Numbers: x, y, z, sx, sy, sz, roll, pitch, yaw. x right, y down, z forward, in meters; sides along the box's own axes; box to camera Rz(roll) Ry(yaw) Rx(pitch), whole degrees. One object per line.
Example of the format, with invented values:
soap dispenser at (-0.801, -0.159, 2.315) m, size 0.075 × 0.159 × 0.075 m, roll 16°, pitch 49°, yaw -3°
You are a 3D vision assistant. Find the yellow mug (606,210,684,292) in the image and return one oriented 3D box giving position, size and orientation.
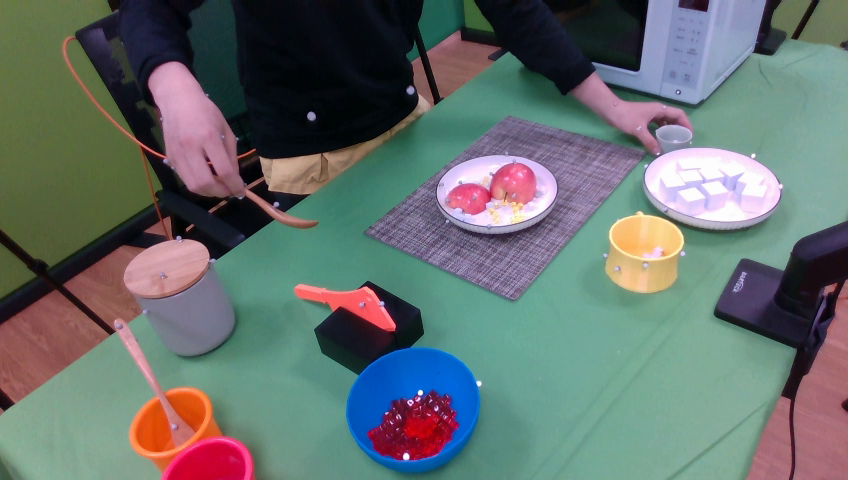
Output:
yellow mug at (0.318, 0.007, 0.883) m, size 0.100 × 0.064 × 0.130 m, roll 0°, pitch 41°, yaw 8°

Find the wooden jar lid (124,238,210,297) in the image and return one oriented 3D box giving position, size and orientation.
wooden jar lid at (-0.335, 0.039, 0.794) m, size 0.108 × 0.021 × 0.108 m, roll -2°, pitch 40°, yaw 2°

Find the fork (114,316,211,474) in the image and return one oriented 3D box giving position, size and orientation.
fork at (-0.309, 0.179, 0.708) m, size 0.028 × 0.018 × 0.207 m, roll -29°, pitch 89°, yaw -25°

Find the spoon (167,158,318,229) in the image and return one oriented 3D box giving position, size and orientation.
spoon at (-0.217, -0.057, 0.722) m, size 0.194 × 0.021 × 0.041 m, roll 28°, pitch 16°, yaw -1°

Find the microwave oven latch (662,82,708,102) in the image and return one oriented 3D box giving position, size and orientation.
microwave oven latch at (0.518, -0.298, 1.203) m, size 0.078 × 0.029 × 0.030 m, roll 28°, pitch 53°, yaw 35°

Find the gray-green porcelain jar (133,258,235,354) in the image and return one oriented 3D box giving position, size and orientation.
gray-green porcelain jar at (-0.327, 0.086, 0.836) m, size 0.106 × 0.127 × 0.105 m, roll -4°, pitch 41°, yaw 4°

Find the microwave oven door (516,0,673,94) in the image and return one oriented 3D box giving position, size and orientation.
microwave oven door at (0.344, -0.459, 1.257) m, size 0.353 × 0.245 × 0.039 m, roll 26°, pitch 52°, yaw 33°

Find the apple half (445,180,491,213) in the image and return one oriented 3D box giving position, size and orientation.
apple half at (0.077, -0.083, 1.029) m, size 0.081 × 0.033 × 0.081 m, roll -2°, pitch 42°, yaw 2°

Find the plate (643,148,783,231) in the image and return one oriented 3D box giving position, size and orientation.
plate at (0.464, -0.080, 0.986) m, size 0.207 × 0.039 × 0.206 m, roll -4°, pitch 41°, yaw 4°

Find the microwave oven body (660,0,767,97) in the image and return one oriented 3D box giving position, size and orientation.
microwave oven body at (0.474, -0.517, 1.313) m, size 0.438 × 0.261 × 0.327 m, roll 26°, pitch 51°, yaw 34°

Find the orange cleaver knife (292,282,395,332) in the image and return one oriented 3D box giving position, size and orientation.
orange cleaver knife at (-0.116, 0.091, 0.835) m, size 0.209 × 0.077 × 0.012 m, roll 2°, pitch 31°, yaw 48°

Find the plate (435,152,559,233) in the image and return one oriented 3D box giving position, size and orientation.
plate at (0.124, -0.078, 1.026) m, size 0.209 × 0.038 × 0.208 m, roll -4°, pitch 40°, yaw 4°

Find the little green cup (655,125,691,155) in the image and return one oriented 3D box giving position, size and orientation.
little green cup at (0.450, -0.178, 1.099) m, size 0.061 × 0.039 × 0.061 m, roll -5°, pitch 42°, yaw 5°

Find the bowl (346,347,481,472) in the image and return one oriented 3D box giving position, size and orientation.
bowl at (-0.008, 0.205, 0.691) m, size 0.151 × 0.077 × 0.150 m, roll -4°, pitch 40°, yaw 4°

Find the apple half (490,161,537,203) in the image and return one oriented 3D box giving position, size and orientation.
apple half at (0.154, -0.106, 1.030) m, size 0.080 × 0.053 × 0.075 m, roll 22°, pitch 46°, yaw 31°
